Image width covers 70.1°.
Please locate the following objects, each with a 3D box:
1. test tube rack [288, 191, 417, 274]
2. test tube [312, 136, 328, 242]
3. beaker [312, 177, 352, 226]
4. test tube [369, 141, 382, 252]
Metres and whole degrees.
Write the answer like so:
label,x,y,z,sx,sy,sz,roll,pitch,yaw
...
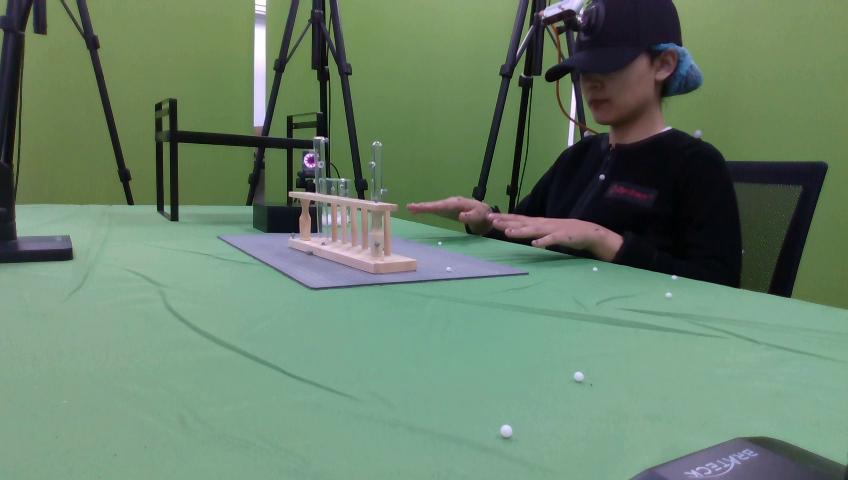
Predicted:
label,x,y,z,sx,sy,sz,roll,pitch,yaw
test tube rack,-0.106,-0.017,0.835,0.067,0.085,0.241,-3,10,-37
test tube,-0.146,-0.070,0.850,0.017,0.150,0.017,0,11,0
beaker,-0.194,-0.081,1.266,0.084,0.100,0.073,-3,9,-29
test tube,-0.065,-0.056,0.808,0.017,0.150,0.017,1,8,0
